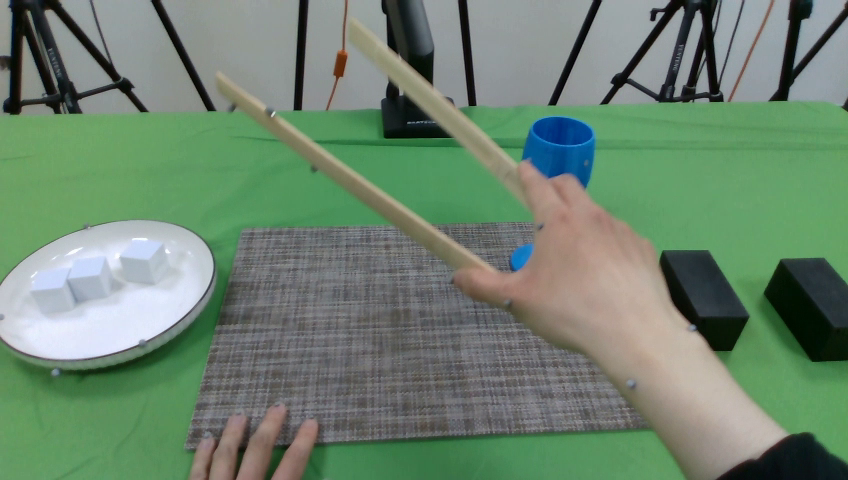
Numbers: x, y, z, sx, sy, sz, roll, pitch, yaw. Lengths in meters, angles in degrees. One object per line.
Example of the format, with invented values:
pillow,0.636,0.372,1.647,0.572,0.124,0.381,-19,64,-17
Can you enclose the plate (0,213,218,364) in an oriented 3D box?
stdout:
plate,-0.316,0.047,0.619,0.209,0.038,0.207,1,40,-1

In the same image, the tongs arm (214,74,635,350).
tongs arm,-0.021,-0.038,0.457,0.382,0.027,0.050,37,57,22

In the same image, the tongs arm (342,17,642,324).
tongs arm,0.034,-0.076,0.491,0.028,0.028,0.384,-25,59,-28
